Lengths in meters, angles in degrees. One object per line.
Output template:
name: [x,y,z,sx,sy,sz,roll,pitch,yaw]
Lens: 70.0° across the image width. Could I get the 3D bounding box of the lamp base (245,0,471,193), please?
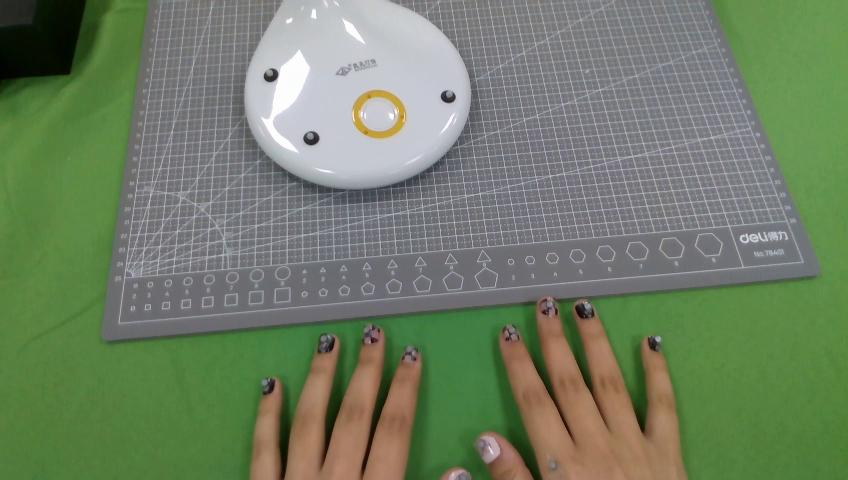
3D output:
lamp base: [-0.054,-0.147,0.370,0.160,0.181,0.177,-31,65,-15]
